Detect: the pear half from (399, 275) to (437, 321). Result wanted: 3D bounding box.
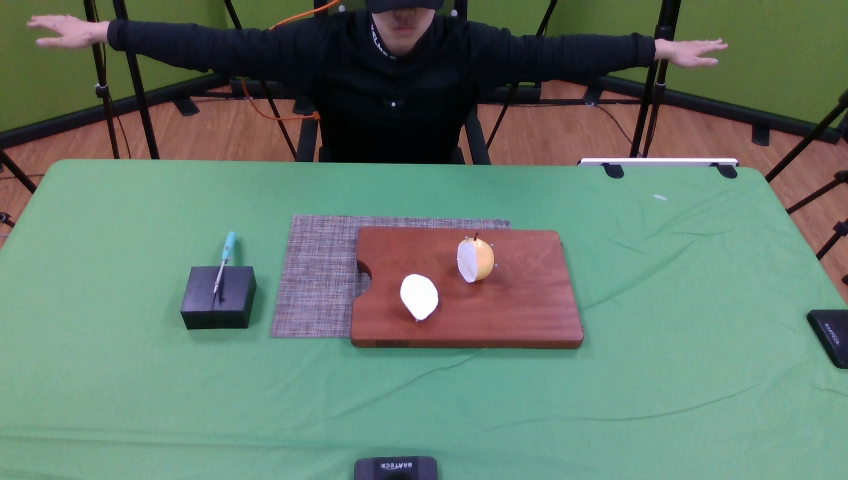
[{"bbox_3d":[-0.013,0.104,1.051,0.070,0.031,0.087,12,58,-15],"label":"pear half"}]

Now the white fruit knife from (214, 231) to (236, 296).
[{"bbox_3d":[-0.359,0.038,1.091,0.016,0.027,0.206,5,29,-11],"label":"white fruit knife"}]

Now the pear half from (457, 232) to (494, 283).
[{"bbox_3d":[0.098,0.023,1.087,0.056,0.110,0.076,-22,55,-24],"label":"pear half"}]
